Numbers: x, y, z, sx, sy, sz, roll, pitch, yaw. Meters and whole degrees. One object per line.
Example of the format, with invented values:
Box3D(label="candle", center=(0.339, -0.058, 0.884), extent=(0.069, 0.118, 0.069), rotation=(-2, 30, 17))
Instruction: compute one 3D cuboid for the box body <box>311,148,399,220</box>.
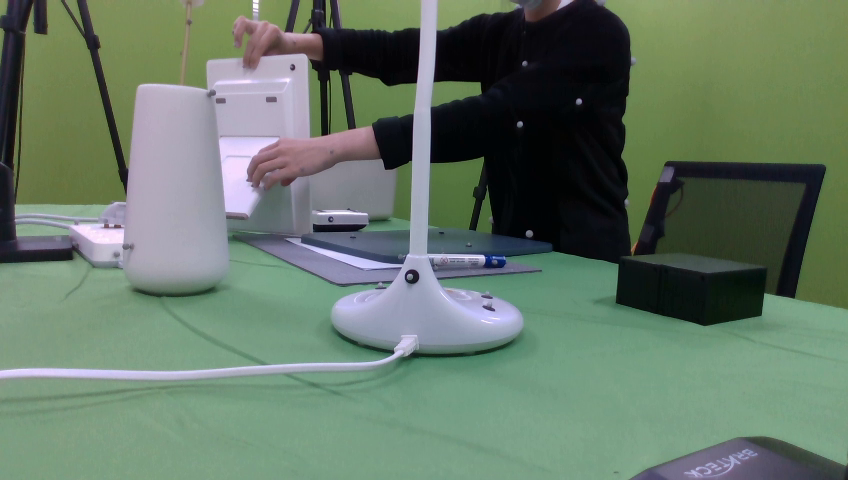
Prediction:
Box3D(label="box body", center=(-0.264, -0.129, 1.380), extent=(0.253, 0.160, 0.366), rotation=(8, 9, 39))

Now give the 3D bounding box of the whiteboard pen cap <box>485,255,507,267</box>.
Box3D(label="whiteboard pen cap", center=(0.093, 0.028, 0.809), extent=(0.033, 0.018, 0.018), rotation=(0, 8, -23))

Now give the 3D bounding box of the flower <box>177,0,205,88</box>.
Box3D(label="flower", center=(-0.243, -0.131, 0.609), extent=(0.044, 0.361, 0.038), rotation=(-5, -12, 11))

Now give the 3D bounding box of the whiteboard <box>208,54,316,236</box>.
Box3D(label="whiteboard", center=(-0.315, -0.151, 0.996), extent=(0.216, 0.305, 0.144), rotation=(5, 11, 26))

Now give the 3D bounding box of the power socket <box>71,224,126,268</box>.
Box3D(label="power socket", center=(-0.409, 0.004, 0.793), extent=(0.072, 0.032, 0.225), rotation=(-2, 8, -37))

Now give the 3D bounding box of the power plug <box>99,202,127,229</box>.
Box3D(label="power plug", center=(-0.415, -0.026, 0.848), extent=(0.073, 0.052, 0.035), rotation=(6, 5, -28))

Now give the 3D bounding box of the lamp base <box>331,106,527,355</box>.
Box3D(label="lamp base", center=(0.006, -0.012, 0.478), extent=(0.161, 0.180, 0.179), rotation=(2, 10, 2))

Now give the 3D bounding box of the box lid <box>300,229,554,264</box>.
Box3D(label="box lid", center=(0.011, 0.006, 0.998), extent=(0.374, 0.015, 0.262), rotation=(-3, 9, -43))

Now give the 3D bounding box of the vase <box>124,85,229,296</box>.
Box3D(label="vase", center=(-0.244, -0.047, 0.598), extent=(0.098, 0.200, 0.098), rotation=(3, 8, 0))

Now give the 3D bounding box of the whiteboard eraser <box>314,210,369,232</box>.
Box3D(label="whiteboard eraser", center=(-0.168, -0.037, 1.172), extent=(0.113, 0.042, 0.055), rotation=(-2, 6, -35))

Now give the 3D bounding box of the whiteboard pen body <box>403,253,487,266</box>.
Box3D(label="whiteboard pen body", center=(0.039, 0.026, 0.785), extent=(0.141, 0.017, 0.017), rotation=(1, 7, -24))
